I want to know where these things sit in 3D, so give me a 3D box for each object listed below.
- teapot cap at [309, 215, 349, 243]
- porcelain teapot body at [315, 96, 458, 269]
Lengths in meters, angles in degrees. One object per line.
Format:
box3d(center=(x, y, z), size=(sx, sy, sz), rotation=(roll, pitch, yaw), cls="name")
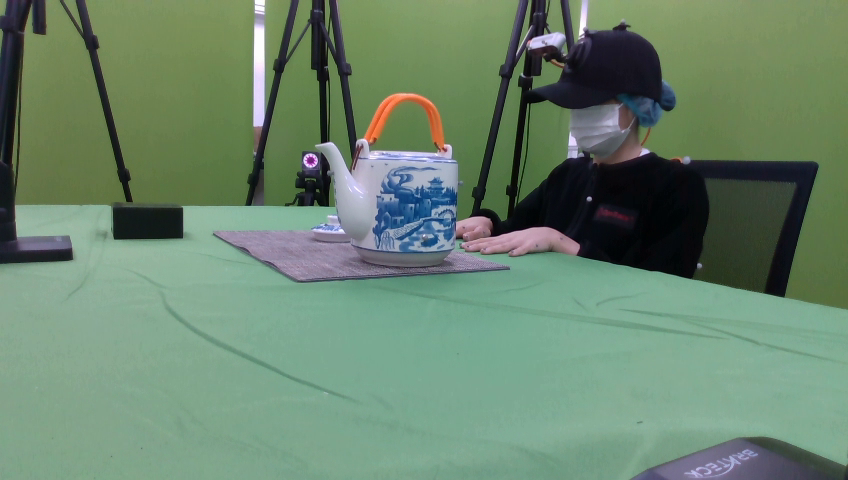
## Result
box3d(center=(-0.151, -0.020, 1.014), size=(0.085, 0.044, 0.085), rotation=(4, 10, 0), cls="teapot cap")
box3d(center=(-0.049, -0.079, 0.800), size=(0.206, 0.225, 0.144), rotation=(-3, 9, -37), cls="porcelain teapot body")
